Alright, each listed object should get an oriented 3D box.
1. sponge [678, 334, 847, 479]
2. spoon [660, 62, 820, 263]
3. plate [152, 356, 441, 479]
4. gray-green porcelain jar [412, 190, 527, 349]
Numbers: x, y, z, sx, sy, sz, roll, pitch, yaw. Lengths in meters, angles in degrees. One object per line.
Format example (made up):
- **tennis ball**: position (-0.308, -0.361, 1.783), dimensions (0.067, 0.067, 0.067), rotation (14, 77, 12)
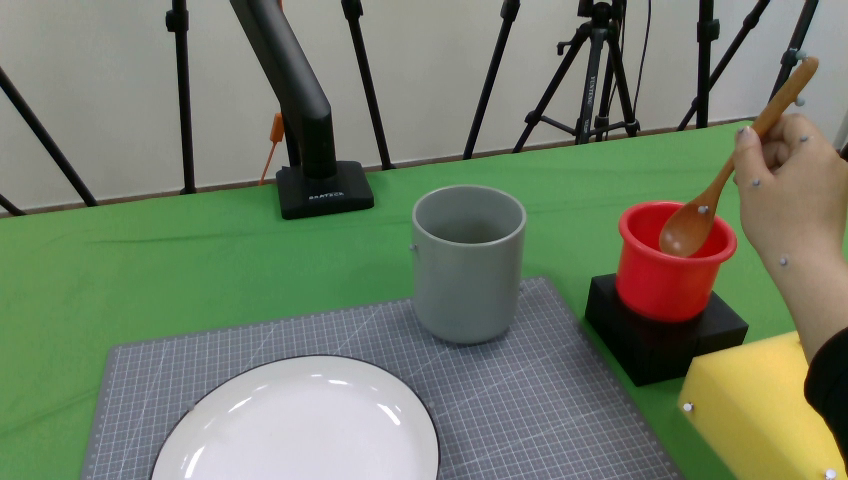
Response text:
- **sponge**: position (0.306, 0.168, 0.446), dimensions (0.118, 0.061, 0.204), rotation (-11, 36, -16)
- **spoon**: position (0.244, -0.052, 0.479), dimensions (0.022, 0.195, 0.041), rotation (-5, 49, -20)
- **plate**: position (-0.091, 0.173, 0.452), dimensions (0.208, 0.039, 0.205), rotation (0, 35, 0)
- **gray-green porcelain jar**: position (0.041, 0.032, 0.580), dimensions (0.106, 0.127, 0.105), rotation (0, 35, 0)
